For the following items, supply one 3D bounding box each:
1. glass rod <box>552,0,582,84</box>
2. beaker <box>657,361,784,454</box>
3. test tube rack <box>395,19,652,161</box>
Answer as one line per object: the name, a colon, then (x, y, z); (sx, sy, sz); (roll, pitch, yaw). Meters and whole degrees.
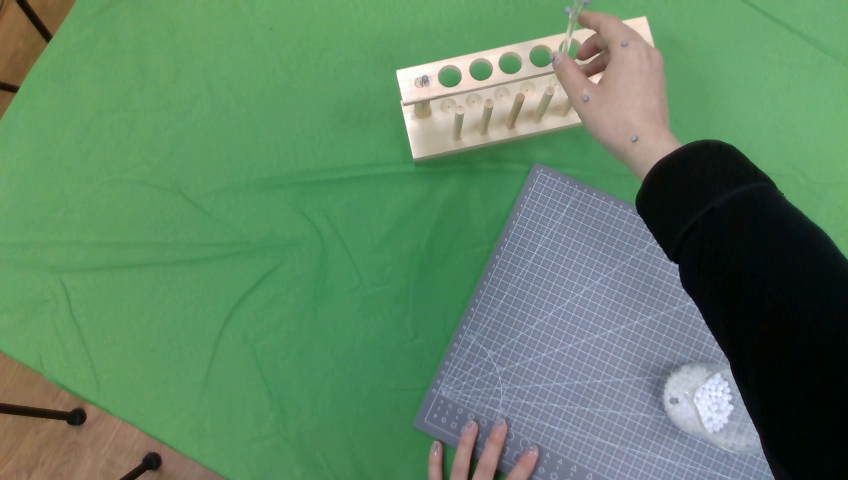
glass rod: (0.128, -0.177, 0.544); (0.008, 0.200, 0.008); (-1, 85, 7)
beaker: (0.261, 0.147, 0.554); (0.084, 0.100, 0.074); (14, 81, 3)
test tube rack: (0.097, -0.146, 0.607); (0.242, 0.085, 0.066); (-12, 81, -1)
